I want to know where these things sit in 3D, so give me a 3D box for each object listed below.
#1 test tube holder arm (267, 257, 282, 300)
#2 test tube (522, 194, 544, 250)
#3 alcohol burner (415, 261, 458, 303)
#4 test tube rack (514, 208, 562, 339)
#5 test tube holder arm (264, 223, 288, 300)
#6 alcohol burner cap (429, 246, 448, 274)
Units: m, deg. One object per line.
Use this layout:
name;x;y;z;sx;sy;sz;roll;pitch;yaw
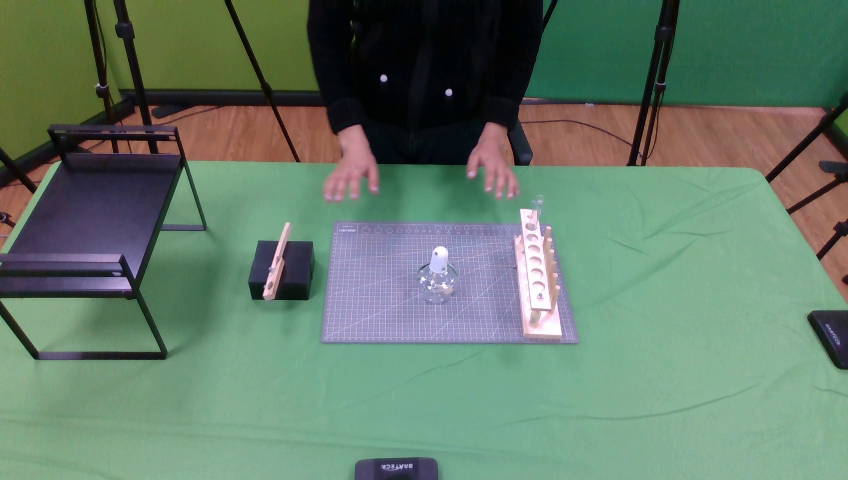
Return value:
test tube holder arm;-0.258;0.066;1.050;0.010;0.015;0.087;-2;45;2
test tube;0.201;-0.029;1.125;0.017;0.151;0.017;2;51;-2
alcohol burner;0.024;0.057;1.078;0.078;0.119;0.077;3;44;-3
test tube rack;0.212;0.056;1.113;0.067;0.085;0.241;3;46;-1
test tube holder arm;-0.264;0.034;1.082;0.013;0.015;0.177;-3;45;2
alcohol burner cap;0.027;0.032;1.052;0.034;0.048;0.033;4;41;-3
